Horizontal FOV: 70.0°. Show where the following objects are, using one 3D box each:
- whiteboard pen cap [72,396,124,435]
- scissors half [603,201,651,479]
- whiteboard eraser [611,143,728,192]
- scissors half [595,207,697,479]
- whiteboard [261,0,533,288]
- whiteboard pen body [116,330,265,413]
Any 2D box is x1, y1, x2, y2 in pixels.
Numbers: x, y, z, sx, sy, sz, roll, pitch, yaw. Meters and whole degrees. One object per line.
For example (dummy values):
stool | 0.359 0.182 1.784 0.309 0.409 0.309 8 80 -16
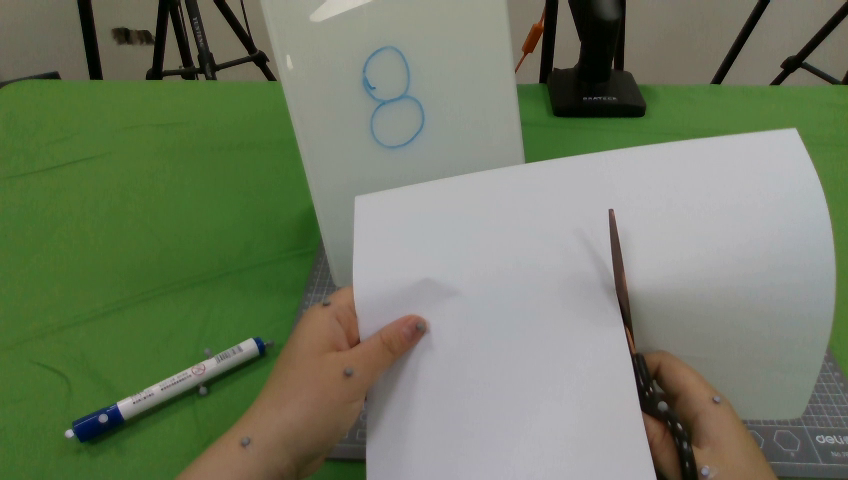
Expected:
whiteboard pen cap | -0.239 0.127 0.446 0.033 0.018 0.018 -26 46 -28
scissors half | 0.118 0.064 0.367 0.013 0.175 0.040 -7 7 -13
whiteboard eraser | 0.269 -0.080 0.667 0.113 0.042 0.055 0 42 0
scissors half | 0.121 0.059 0.345 0.013 0.040 0.173 -7 66 -8
whiteboard | -0.036 -0.145 0.596 0.218 0.307 0.142 -18 23 -17
whiteboard pen body | -0.191 0.106 0.472 0.141 0.017 0.017 -25 46 -28
